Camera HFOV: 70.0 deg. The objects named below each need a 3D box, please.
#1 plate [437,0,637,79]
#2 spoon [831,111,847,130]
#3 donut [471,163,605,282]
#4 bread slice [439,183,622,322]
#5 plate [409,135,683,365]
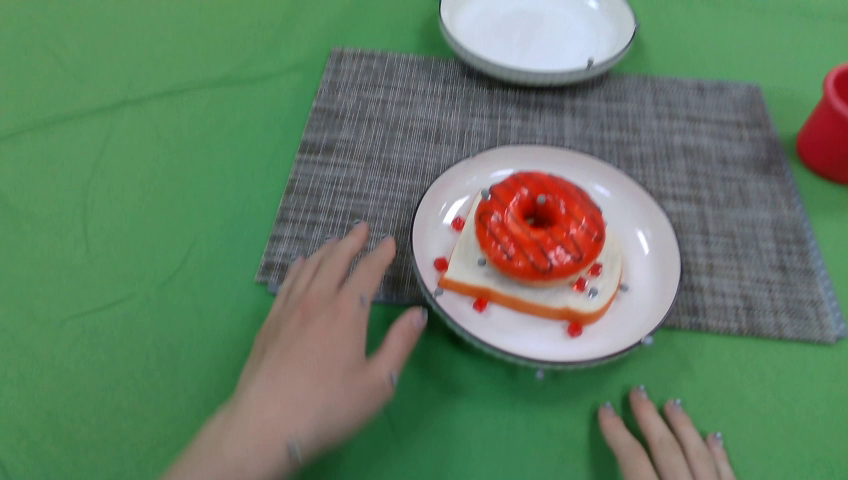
[{"bbox_3d":[0.117,-0.236,0.645,0.208,0.039,0.205,1,54,-1],"label":"plate"},{"bbox_3d":[0.380,-0.100,0.496,0.041,0.022,0.194,23,14,13],"label":"spoon"},{"bbox_3d":[0.083,-0.013,0.447,0.099,0.048,0.098,0,56,0],"label":"donut"},{"bbox_3d":[0.089,0.008,0.477,0.131,0.019,0.104,15,57,11],"label":"bread slice"},{"bbox_3d":[0.092,0.004,0.476,0.209,0.038,0.207,1,56,-1],"label":"plate"}]
